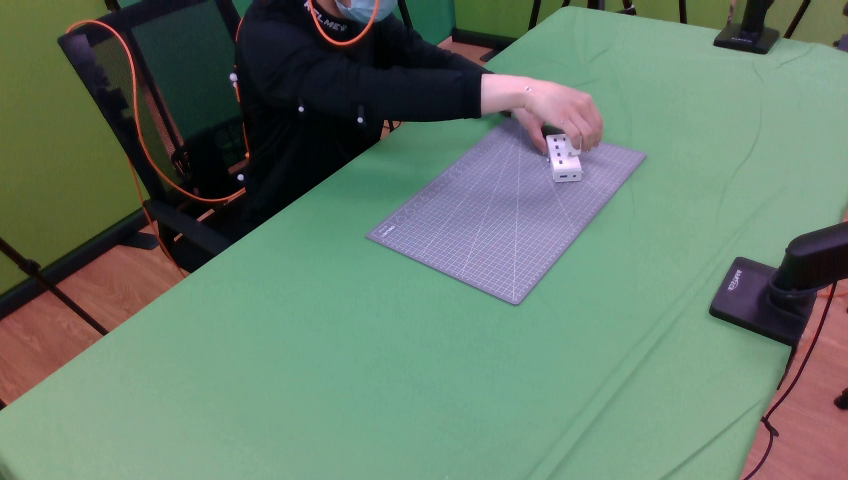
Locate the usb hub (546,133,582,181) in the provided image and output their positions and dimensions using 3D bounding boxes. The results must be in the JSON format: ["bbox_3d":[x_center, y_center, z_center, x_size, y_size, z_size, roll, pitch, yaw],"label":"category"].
[{"bbox_3d":[0.255,-0.152,1.103,0.049,0.025,0.124,-3,41,5],"label":"usb hub"}]

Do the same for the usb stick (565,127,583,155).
[{"bbox_3d":[0.266,-0.170,1.077,0.027,0.059,0.021,-2,41,1],"label":"usb stick"}]
